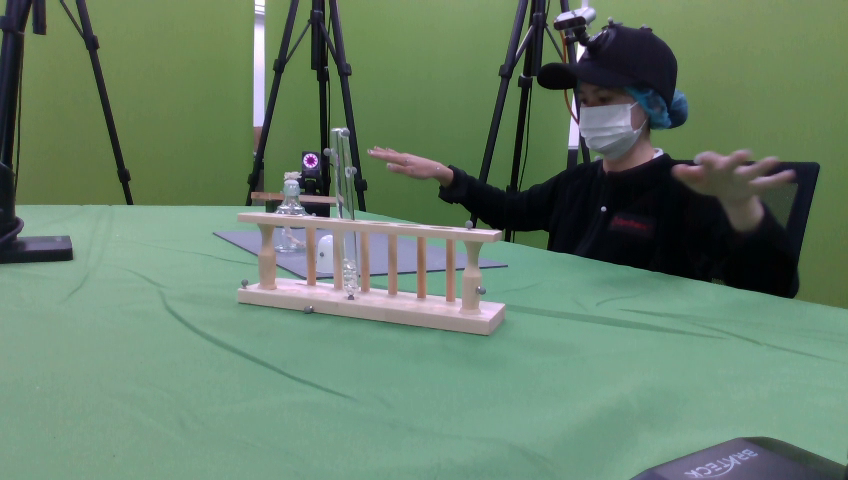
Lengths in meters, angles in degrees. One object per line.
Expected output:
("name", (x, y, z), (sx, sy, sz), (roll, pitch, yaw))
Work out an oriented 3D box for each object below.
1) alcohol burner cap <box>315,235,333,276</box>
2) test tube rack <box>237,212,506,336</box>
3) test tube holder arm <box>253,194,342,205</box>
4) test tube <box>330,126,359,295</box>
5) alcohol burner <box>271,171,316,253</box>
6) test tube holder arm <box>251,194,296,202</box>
("alcohol burner cap", (-0.116, 0.018, 0.728), (0.034, 0.048, 0.034), (3, 6, 0))
("test tube rack", (-0.049, 0.024, 0.552), (0.242, 0.085, 0.067), (5, 8, 18))
("test tube holder arm", (-0.256, -0.082, 1.217), (0.179, 0.015, 0.013), (3, 5, -7))
("test tube", (-0.070, -0.024, 0.533), (0.017, 0.150, 0.017), (-3, 10, 1))
("alcohol burner", (-0.196, -0.041, 0.884), (0.078, 0.119, 0.078), (3, 5, 0))
("test tube holder arm", (-0.300, -0.084, 1.207), (0.088, 0.015, 0.010), (3, 5, -5))
